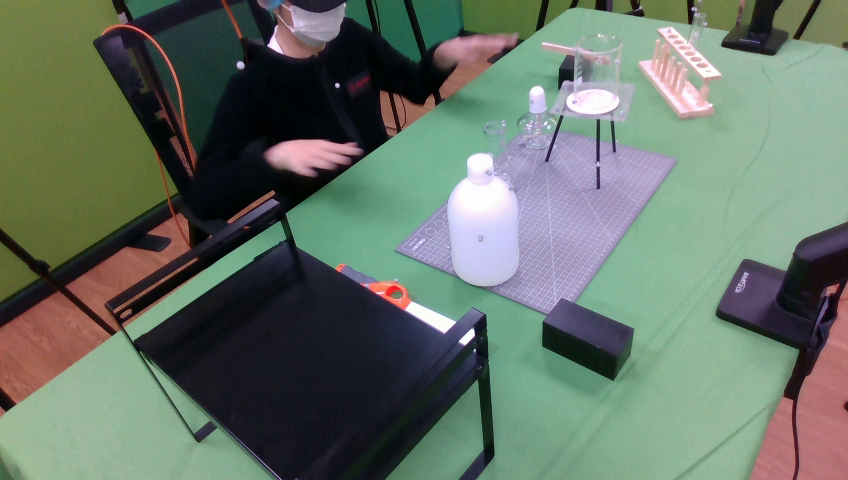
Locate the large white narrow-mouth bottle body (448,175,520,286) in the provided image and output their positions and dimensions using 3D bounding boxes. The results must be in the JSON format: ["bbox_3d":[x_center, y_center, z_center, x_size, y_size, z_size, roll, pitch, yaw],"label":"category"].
[{"bbox_3d":[0.086,-0.032,0.868,0.102,0.195,0.101,-4,40,4],"label":"large white narrow-mouth bottle body"}]

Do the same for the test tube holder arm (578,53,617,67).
[{"bbox_3d":[0.376,-0.393,1.314,0.087,0.015,0.010,26,51,32],"label":"test tube holder arm"}]

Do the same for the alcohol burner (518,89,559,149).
[{"bbox_3d":[0.218,-0.235,1.149,0.078,0.119,0.077,-5,43,5],"label":"alcohol burner"}]

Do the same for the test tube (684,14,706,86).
[{"bbox_3d":[0.540,-0.378,1.215,0.017,0.151,0.017,-2,44,3],"label":"test tube"}]

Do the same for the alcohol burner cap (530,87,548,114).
[{"bbox_3d":[0.212,-0.262,1.126,0.034,0.048,0.033,-8,37,7],"label":"alcohol burner cap"}]

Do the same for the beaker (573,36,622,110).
[{"bbox_3d":[0.283,-0.273,0.990,0.073,0.101,0.084,16,46,28],"label":"beaker"}]

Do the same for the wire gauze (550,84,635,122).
[{"bbox_3d":[0.285,-0.234,1.021,0.124,0.011,0.121,8,41,23],"label":"wire gauze"}]

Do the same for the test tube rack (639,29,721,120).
[{"bbox_3d":[0.527,-0.351,1.262,0.067,0.085,0.241,-8,40,1],"label":"test tube rack"}]

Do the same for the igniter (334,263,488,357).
[{"bbox_3d":[-0.030,0.095,0.872,0.274,0.025,0.057,23,60,31],"label":"igniter"}]

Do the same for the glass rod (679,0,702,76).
[{"bbox_3d":[0.543,-0.417,1.233,0.008,0.200,0.008,1,39,0],"label":"glass rod"}]

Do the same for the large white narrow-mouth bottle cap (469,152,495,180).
[{"bbox_3d":[0.078,-0.099,0.811,0.038,0.024,0.037,-4,40,4],"label":"large white narrow-mouth bottle cap"}]

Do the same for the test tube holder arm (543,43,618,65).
[{"bbox_3d":[0.345,-0.413,1.341,0.177,0.015,0.013,25,50,32],"label":"test tube holder arm"}]

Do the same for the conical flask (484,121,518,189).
[{"bbox_3d":[0.126,-0.145,1.051,0.075,0.122,0.075,-5,41,4],"label":"conical flask"}]

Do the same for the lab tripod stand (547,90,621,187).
[{"bbox_3d":[0.289,-0.184,1.062,0.148,0.132,0.147,-6,41,6],"label":"lab tripod stand"}]
